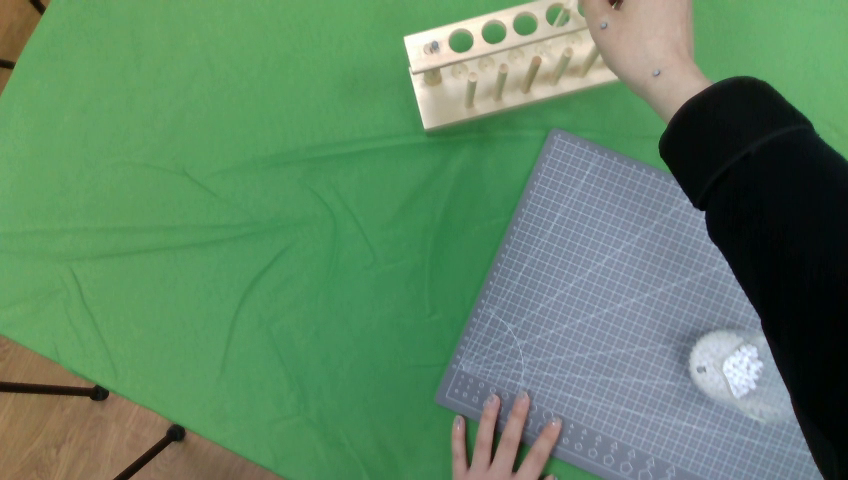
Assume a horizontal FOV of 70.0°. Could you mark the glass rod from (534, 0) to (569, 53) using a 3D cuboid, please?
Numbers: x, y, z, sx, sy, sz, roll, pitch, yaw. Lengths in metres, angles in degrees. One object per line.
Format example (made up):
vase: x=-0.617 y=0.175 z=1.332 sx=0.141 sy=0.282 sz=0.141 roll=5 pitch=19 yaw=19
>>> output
glass rod: x=0.122 y=-0.207 z=0.510 sx=0.008 sy=0.200 sz=0.008 roll=1 pitch=79 yaw=-5

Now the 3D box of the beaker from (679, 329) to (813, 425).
beaker: x=0.277 y=0.116 z=0.540 sx=0.084 sy=0.100 sz=0.074 roll=12 pitch=86 yaw=3

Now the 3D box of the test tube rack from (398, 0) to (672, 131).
test tube rack: x=0.102 y=-0.175 z=0.574 sx=0.242 sy=0.085 sz=0.066 roll=-14 pitch=85 yaw=0
